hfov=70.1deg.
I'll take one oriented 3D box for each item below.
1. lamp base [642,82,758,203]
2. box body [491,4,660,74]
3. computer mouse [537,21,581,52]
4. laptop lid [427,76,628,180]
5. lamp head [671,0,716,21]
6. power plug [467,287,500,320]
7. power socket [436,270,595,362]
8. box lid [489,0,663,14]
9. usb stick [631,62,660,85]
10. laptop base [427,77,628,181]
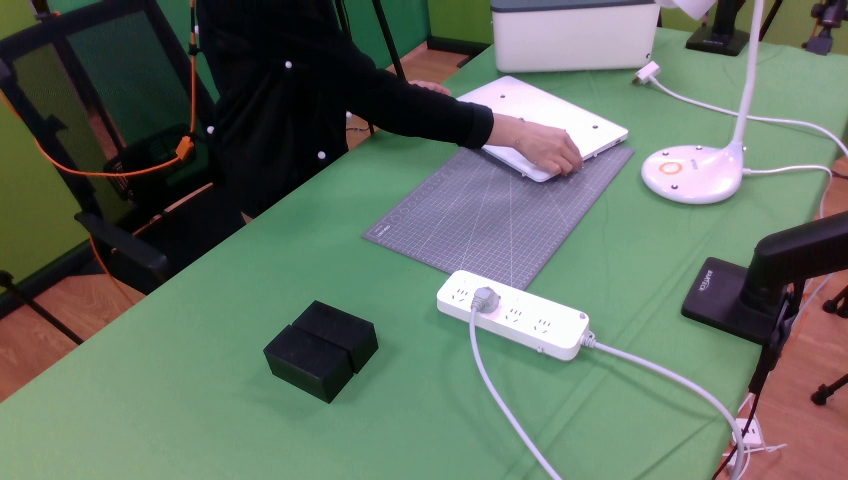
[{"bbox_3d":[0.464,-0.174,0.992,0.179,0.181,0.159,-5,41,-2],"label":"lamp base"},{"bbox_3d":[0.346,-0.520,1.429,0.363,0.161,0.253,0,41,9],"label":"box body"},{"bbox_3d":[0.335,-0.503,1.487,0.118,0.041,0.062,22,19,-28],"label":"computer mouse"},{"bbox_3d":[0.195,-0.238,1.212,0.242,0.013,0.353,-28,44,-22],"label":"laptop lid"},{"bbox_3d":[0.375,-0.373,0.807,0.122,0.113,0.112,-40,27,32],"label":"lamp head"},{"bbox_3d":[0.073,0.092,0.814,0.035,0.053,0.073,29,54,34],"label":"power plug"},{"bbox_3d":[0.118,0.101,0.832,0.225,0.033,0.072,19,48,27],"label":"power socket"},{"bbox_3d":[0.340,-0.575,1.380,0.371,0.015,0.262,0,41,9],"label":"box lid"},{"bbox_3d":[0.480,-0.358,1.317,0.059,0.022,0.027,-35,56,14],"label":"usb stick"},{"bbox_3d":[0.198,-0.230,1.221,0.236,0.023,0.351,-30,45,-22],"label":"laptop base"}]
